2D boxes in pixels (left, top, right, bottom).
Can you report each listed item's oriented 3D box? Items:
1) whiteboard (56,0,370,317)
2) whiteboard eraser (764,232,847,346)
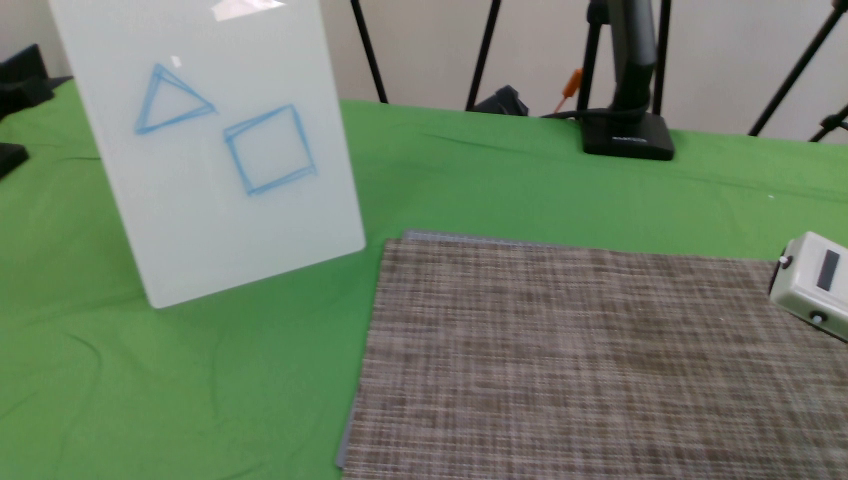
[{"bbox_3d":[-0.201,-0.116,0.612,0.218,0.307,0.142,-17,22,-21],"label":"whiteboard"},{"bbox_3d":[0.287,0.044,0.401,0.112,0.042,0.055,27,63,10],"label":"whiteboard eraser"}]
